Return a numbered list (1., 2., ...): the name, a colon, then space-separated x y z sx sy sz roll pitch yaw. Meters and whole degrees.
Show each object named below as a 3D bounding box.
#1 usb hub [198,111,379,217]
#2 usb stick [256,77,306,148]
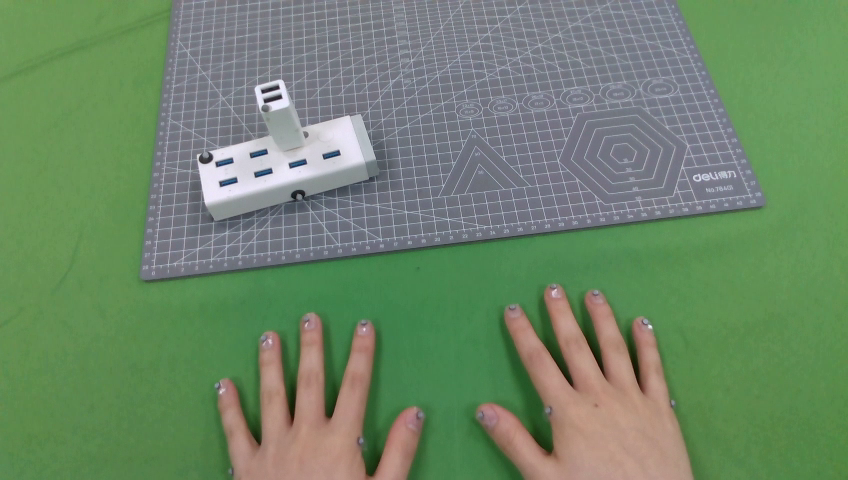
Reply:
1. usb hub: -0.101 -0.058 0.451 0.125 0.025 0.049 -16 62 -7
2. usb stick: -0.100 -0.086 0.433 0.021 0.059 0.027 -18 61 -5
